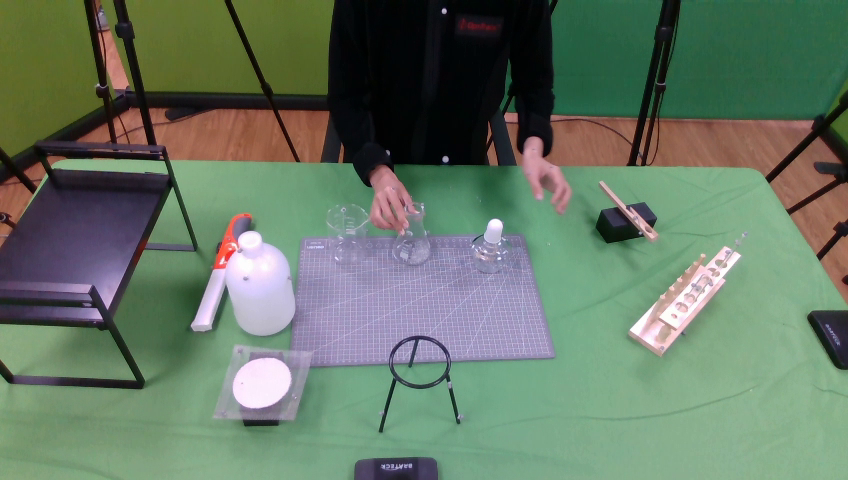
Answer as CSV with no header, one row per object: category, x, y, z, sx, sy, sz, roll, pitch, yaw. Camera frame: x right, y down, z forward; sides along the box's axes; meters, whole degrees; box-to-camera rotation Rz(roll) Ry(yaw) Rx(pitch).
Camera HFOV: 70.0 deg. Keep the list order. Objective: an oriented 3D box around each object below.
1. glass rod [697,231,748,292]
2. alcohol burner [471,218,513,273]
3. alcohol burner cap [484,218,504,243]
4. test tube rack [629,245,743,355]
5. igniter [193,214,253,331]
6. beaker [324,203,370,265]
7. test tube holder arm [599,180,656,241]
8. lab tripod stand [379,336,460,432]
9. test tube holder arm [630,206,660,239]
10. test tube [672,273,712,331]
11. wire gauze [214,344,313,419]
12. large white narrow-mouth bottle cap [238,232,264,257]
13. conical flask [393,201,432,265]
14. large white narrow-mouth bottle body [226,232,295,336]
glass rod,0.513,0.044,1.051,0.008,0.200,0.008,1,55,-1
alcohol burner,0.128,0.005,1.132,0.078,0.120,0.077,0,47,0
alcohol burner cap,0.130,-0.021,1.106,0.034,0.048,0.033,3,51,-4
test tube rack,0.474,0.095,1.091,0.242,0.085,0.066,-34,56,-31
igniter,-0.368,0.050,1.119,0.057,0.025,0.275,-3,46,8
beaker,-0.142,-0.009,1.137,0.084,0.101,0.073,-3,47,-7
test tube holder arm,0.407,-0.062,1.219,0.013,0.015,0.177,-23,51,-12
lab tripod stand,-0.010,0.214,0.911,0.148,0.132,0.147,1,45,-1
test tube holder arm,0.432,-0.034,1.192,0.010,0.015,0.087,-23,51,-12
test tube,0.439,0.106,1.009,0.017,0.151,0.017,4,48,-4
wire gauze,-0.241,0.213,0.915,0.121,0.011,0.124,5,46,1
large white narrow-mouth bottle cap,-0.266,0.007,0.933,0.038,0.024,0.037,2,46,-2
conical flask,-0.020,-0.017,1.136,0.075,0.122,0.075,2,47,-2
large white narrow-mouth bottle body,-0.270,0.065,0.995,0.102,0.195,0.101,2,46,-2
